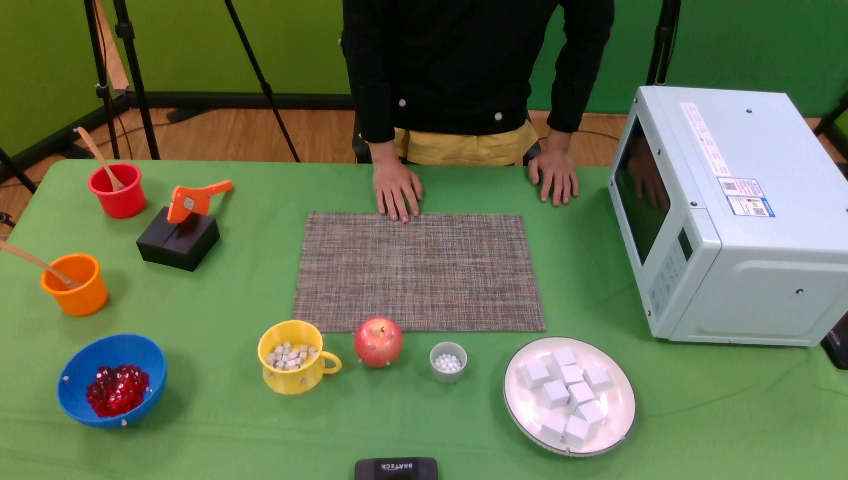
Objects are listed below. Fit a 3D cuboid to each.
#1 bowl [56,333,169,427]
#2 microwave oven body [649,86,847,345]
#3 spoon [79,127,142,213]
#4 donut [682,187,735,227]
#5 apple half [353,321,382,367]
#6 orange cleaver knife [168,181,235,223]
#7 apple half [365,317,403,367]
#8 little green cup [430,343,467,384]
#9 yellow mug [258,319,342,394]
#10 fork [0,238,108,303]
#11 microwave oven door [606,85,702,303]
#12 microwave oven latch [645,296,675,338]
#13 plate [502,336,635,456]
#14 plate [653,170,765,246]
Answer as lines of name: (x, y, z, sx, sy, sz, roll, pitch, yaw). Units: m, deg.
bowl: (-0.456, 0.223, 0.911, 0.151, 0.077, 0.150, 3, 46, -2)
microwave oven body: (0.567, -0.053, 1.118, 0.326, 0.261, 0.439, 2, 45, -1)
spoon: (-0.624, -0.139, 1.203, 0.041, 0.021, 0.194, -33, 100, -26)
donut: (0.554, -0.067, 1.184, 0.099, 0.048, 0.098, 3, 45, -3)
apple half: (-0.098, 0.177, 0.984, 0.033, 0.081, 0.081, -17, 49, -25)
orange cleaver knife: (-0.436, -0.078, 1.196, 0.012, 0.077, 0.211, 16, 15, 10)
apple half: (-0.063, 0.165, 1.000, 0.053, 0.075, 0.080, -16, 45, -24)
little green cup: (0.039, 0.203, 0.994, 0.061, 0.039, 0.061, 2, 46, -2)
yellow mug: (-0.195, 0.188, 0.972, 0.131, 0.064, 0.099, 9, 46, 4)
fork: (-0.633, 0.048, 1.017, 0.208, 0.018, 0.028, 40, 41, -27)
microwave oven door: (0.423, -0.094, 1.140, 0.039, 0.245, 0.353, 2, 46, -1)
microwave oven latch: (0.412, 0.134, 1.061, 0.030, 0.029, 0.078, 4, 45, 0)
plate: (0.225, 0.248, 0.963, 0.208, 0.039, 0.206, 2, 46, -2)
plate: (0.556, -0.060, 1.195, 0.209, 0.038, 0.208, 1, 45, -1)
